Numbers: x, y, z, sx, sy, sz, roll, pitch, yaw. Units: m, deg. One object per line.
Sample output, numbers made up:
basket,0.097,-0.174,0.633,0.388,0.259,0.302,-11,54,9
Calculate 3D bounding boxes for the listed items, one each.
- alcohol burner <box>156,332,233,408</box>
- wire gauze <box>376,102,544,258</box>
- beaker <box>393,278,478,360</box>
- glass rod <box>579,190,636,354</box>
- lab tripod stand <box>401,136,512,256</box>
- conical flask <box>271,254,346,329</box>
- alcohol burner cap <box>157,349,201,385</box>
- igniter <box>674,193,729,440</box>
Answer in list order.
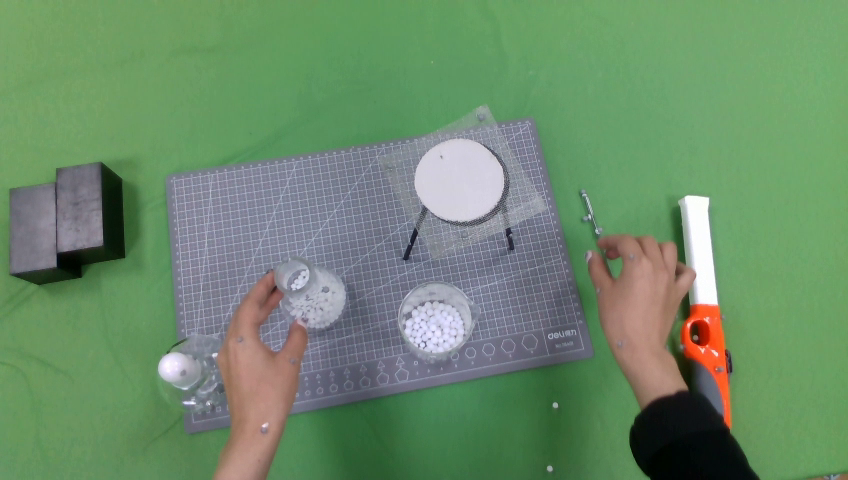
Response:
alcohol burner,-0.235,0.129,0.607,0.078,0.119,0.077,1,75,-2
wire gauze,0.034,-0.059,0.584,0.125,0.011,0.121,-26,78,-7
beaker,0.011,0.086,0.631,0.084,0.101,0.073,-12,75,-5
glass rod,0.210,0.033,0.698,0.008,0.008,0.198,-12,74,-5
lab tripod stand,0.034,-0.039,0.648,0.148,0.132,0.147,0,76,0
conical flask,-0.125,0.048,0.627,0.075,0.122,0.075,0,74,0
alcohol burner cap,-0.234,0.118,0.573,0.034,0.048,0.033,2,71,-5
igniter,0.308,0.079,0.677,0.057,0.025,0.275,5,74,-10
